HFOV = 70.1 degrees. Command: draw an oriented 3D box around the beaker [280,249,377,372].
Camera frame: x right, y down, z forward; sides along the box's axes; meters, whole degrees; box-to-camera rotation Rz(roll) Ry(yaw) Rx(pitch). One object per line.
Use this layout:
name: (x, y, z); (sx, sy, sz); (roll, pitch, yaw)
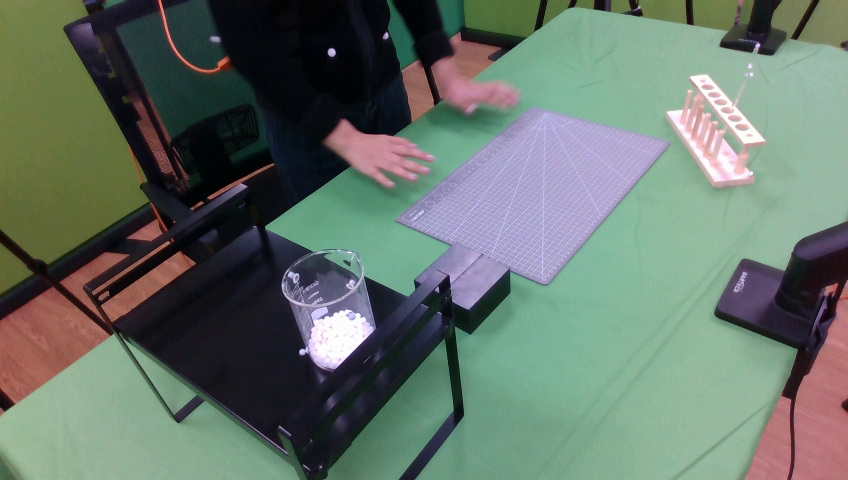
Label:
beaker: (-0.084, 0.068, 0.572); (0.073, 0.101, 0.084); (20, 47, 28)

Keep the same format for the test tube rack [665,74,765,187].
test tube rack: (0.512, -0.201, 1.082); (0.067, 0.085, 0.241); (-5, 41, 2)

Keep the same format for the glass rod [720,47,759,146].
glass rod: (0.527, -0.234, 1.018); (0.008, 0.200, 0.008); (-2, 49, 3)
